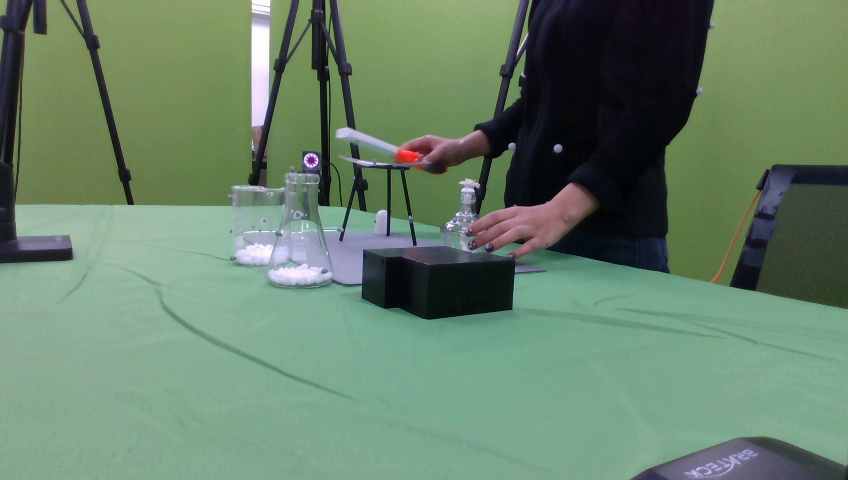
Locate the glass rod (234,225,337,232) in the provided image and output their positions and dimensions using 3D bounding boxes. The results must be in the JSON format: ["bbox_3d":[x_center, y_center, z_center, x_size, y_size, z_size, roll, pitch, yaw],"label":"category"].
[{"bbox_3d":[-0.256,-0.022,1.136,0.201,0.008,0.008,-3,8,-33],"label":"glass rod"}]

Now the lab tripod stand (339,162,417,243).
[{"bbox_3d":[-0.067,-0.065,1.027,0.148,0.131,0.148,4,7,0],"label":"lab tripod stand"}]

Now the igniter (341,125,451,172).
[{"bbox_3d":[-0.046,-0.173,1.175,0.057,0.025,0.278,2,-8,42],"label":"igniter"}]

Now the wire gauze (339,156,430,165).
[{"bbox_3d":[-0.067,-0.132,1.022,0.122,0.011,0.124,-1,9,-31],"label":"wire gauze"}]

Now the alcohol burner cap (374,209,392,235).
[{"bbox_3d":[-0.078,-0.036,1.148,0.034,0.048,0.034,2,7,0],"label":"alcohol burner cap"}]

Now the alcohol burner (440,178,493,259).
[{"bbox_3d":[0.064,-0.032,0.887,0.078,0.119,0.078,4,5,0],"label":"alcohol burner"}]

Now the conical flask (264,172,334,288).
[{"bbox_3d":[-0.136,-0.013,0.660,0.075,0.122,0.075,2,7,0],"label":"conical flask"}]

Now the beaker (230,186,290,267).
[{"bbox_3d":[-0.209,-0.019,0.778,0.074,0.100,0.084,3,6,4],"label":"beaker"}]
